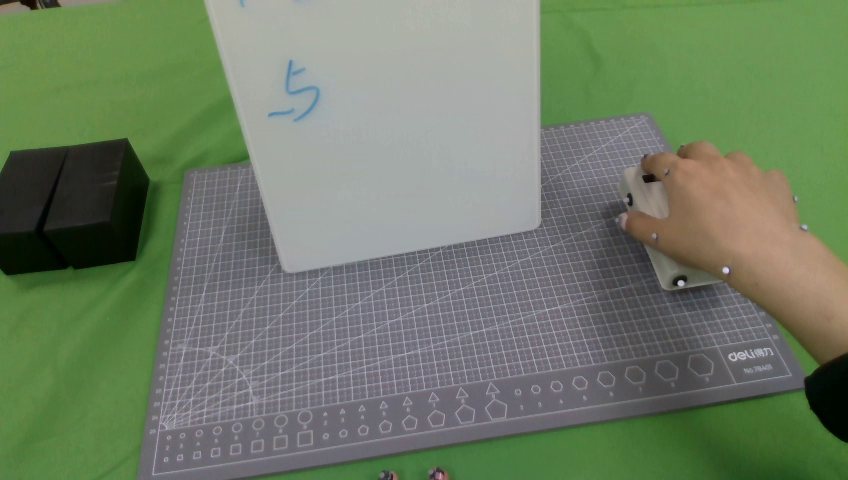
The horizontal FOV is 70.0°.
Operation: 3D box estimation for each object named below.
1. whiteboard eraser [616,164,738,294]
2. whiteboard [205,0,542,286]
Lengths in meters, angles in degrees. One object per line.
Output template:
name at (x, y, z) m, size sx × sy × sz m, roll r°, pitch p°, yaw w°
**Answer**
whiteboard eraser at (0.196, -0.009, 0.478) m, size 0.055 × 0.042 × 0.111 m, roll -7°, pitch 50°, yaw -2°
whiteboard at (-0.033, -0.146, 0.473) m, size 0.217 × 0.308 × 0.142 m, roll -10°, pitch 31°, yaw -4°
